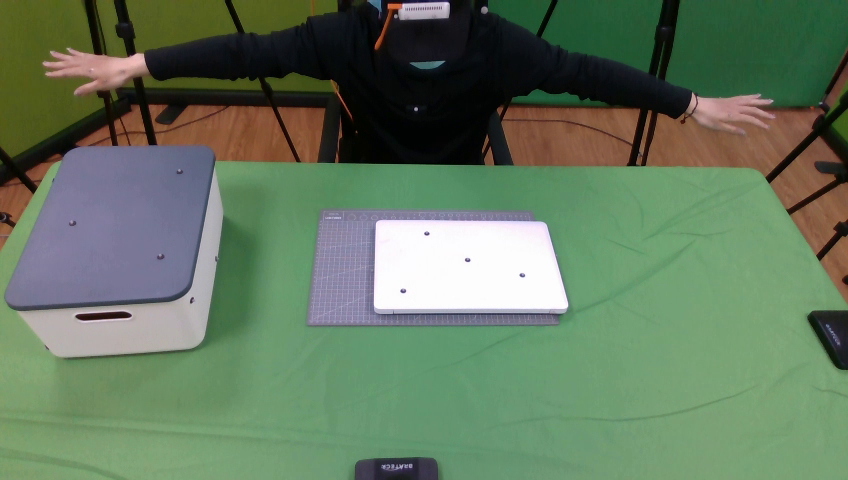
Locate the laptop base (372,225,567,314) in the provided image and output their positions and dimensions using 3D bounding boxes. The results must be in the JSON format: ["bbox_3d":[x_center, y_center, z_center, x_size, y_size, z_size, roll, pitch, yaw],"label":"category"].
[{"bbox_3d":[0.080,0.049,1.158,0.355,0.023,0.234,0,43,-4],"label":"laptop base"}]

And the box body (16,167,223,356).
[{"bbox_3d":[-0.499,0.012,1.051,0.254,0.161,0.361,-3,47,-7],"label":"box body"}]

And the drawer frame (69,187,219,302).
[{"bbox_3d":[-0.496,0.004,1.099,0.202,0.083,0.212,-2,50,-4],"label":"drawer frame"}]

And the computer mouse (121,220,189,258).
[{"bbox_3d":[-0.511,-0.003,1.152,0.117,0.041,0.062,12,42,-3],"label":"computer mouse"}]

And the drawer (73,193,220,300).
[{"bbox_3d":[-0.494,0.009,1.103,0.195,0.073,0.210,2,45,-6],"label":"drawer"}]

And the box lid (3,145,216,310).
[{"bbox_3d":[-0.495,-0.040,0.998,0.263,0.015,0.369,-2,47,-8],"label":"box lid"}]

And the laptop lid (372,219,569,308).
[{"bbox_3d":[0.081,0.039,1.152,0.357,0.013,0.240,2,44,-3],"label":"laptop lid"}]
